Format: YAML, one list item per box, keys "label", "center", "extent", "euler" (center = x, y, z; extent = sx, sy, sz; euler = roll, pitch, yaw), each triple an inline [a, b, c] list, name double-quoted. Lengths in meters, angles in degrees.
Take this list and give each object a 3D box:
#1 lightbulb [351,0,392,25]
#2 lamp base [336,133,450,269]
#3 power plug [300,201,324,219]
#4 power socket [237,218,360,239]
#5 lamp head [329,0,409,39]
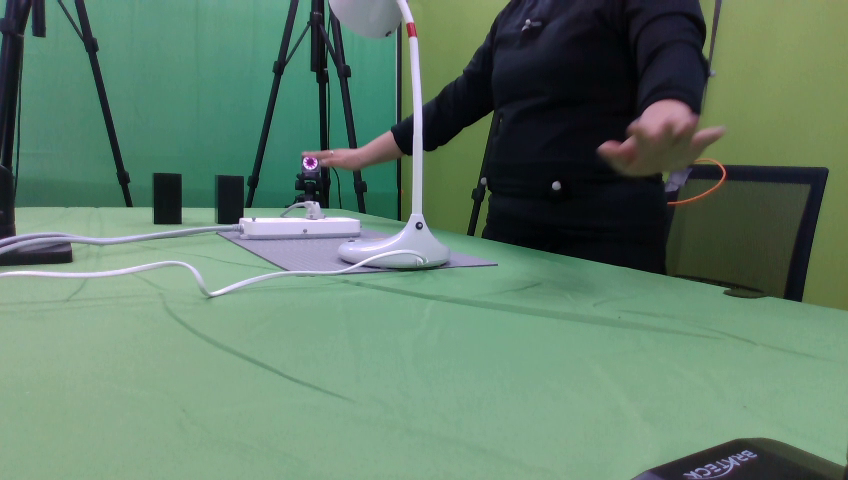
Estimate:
- label: "lightbulb"
  center: [-0.070, -0.355, 0.866]
  extent: [0.060, 0.059, 0.107]
  euler: [0, -21, -20]
- label: "lamp base"
  center: [-0.032, -0.057, 0.830]
  extent: [0.161, 0.180, 0.178]
  euler: [-2, 11, -34]
- label: "power plug"
  center: [-0.207, -0.046, 1.120]
  extent: [0.035, 0.052, 0.072]
  euler: [2, 4, -22]
- label: "power socket"
  center: [-0.220, -0.023, 1.080]
  extent: [0.228, 0.032, 0.072]
  euler: [-2, 8, -33]
- label: "lamp head"
  center: [-0.062, -0.357, 0.842]
  extent: [0.113, 0.112, 0.122]
  euler: [-1, -14, -29]
